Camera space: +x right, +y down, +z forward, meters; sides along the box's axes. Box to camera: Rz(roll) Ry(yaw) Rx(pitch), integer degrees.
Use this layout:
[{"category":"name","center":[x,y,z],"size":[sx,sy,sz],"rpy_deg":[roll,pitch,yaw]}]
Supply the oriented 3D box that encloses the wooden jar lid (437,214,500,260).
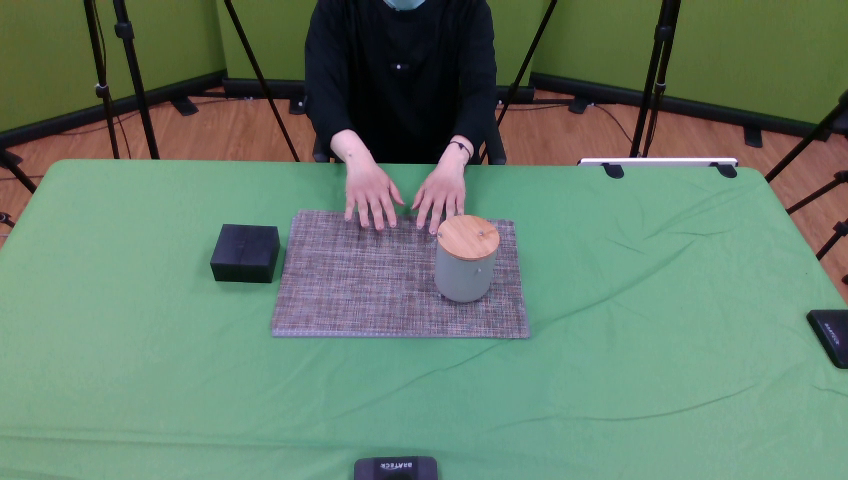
[{"category":"wooden jar lid","center":[0.076,-0.002,1.039],"size":[0.108,0.021,0.107],"rpy_deg":[2,44,-1]}]

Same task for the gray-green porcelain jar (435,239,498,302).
[{"category":"gray-green porcelain jar","center":[0.073,0.041,1.083],"size":[0.106,0.127,0.105],"rpy_deg":[2,46,-2]}]
